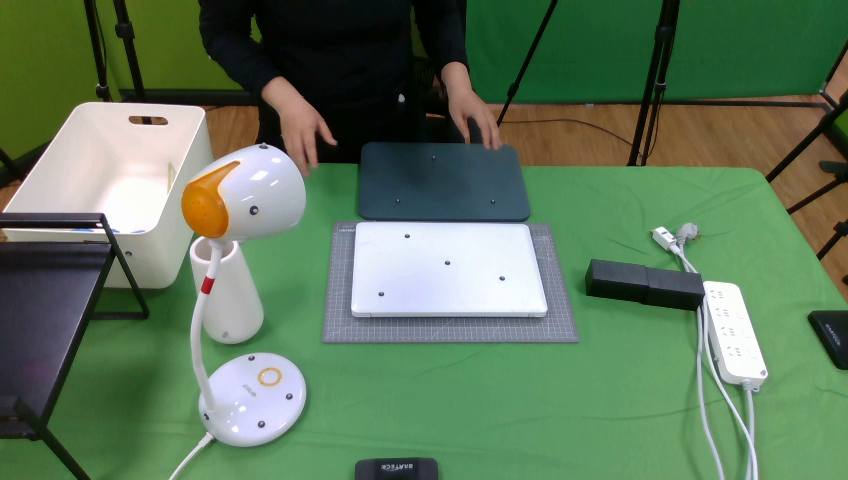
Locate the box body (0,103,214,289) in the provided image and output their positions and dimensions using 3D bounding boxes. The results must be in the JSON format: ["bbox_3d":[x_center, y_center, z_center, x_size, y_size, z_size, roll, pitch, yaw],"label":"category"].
[{"bbox_3d":[-0.563,-0.087,1.139,0.254,0.161,0.361,2,46,-3],"label":"box body"}]

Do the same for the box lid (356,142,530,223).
[{"bbox_3d":[0.040,-0.132,1.339,0.372,0.015,0.261,0,46,-4],"label":"box lid"}]

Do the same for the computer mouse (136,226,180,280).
[{"bbox_3d":[-0.491,0.020,1.118,0.063,0.041,0.116,0,54,-8],"label":"computer mouse"}]

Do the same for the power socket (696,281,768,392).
[{"bbox_3d":[0.543,0.161,1.077,0.072,0.033,0.225,5,46,2],"label":"power socket"}]

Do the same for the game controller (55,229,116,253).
[{"bbox_3d":[-0.597,0.011,1.116,0.155,0.052,0.096,1,48,-1],"label":"game controller"}]

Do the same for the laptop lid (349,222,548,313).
[{"bbox_3d":[0.042,0.046,1.142,0.357,0.013,0.240,2,44,-3],"label":"laptop lid"}]

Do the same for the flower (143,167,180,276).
[{"bbox_3d":[-0.495,-0.053,1.173,0.044,0.038,0.359,-41,34,17],"label":"flower"}]

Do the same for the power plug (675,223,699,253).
[{"bbox_3d":[0.537,0.000,1.244,0.053,0.035,0.072,19,83,-17],"label":"power plug"}]

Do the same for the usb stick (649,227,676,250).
[{"bbox_3d":[0.485,-0.008,1.238,0.021,0.027,0.059,-21,43,-14],"label":"usb stick"}]

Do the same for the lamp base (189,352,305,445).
[{"bbox_3d":[-0.268,0.196,0.876,0.160,0.181,0.179,25,52,20],"label":"lamp base"}]

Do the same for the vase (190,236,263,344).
[{"bbox_3d":[-0.317,0.081,0.971,0.098,0.201,0.097,3,47,-3],"label":"vase"}]

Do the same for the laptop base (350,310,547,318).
[{"bbox_3d":[0.041,0.056,1.149,0.355,0.023,0.234,0,42,-4],"label":"laptop base"}]

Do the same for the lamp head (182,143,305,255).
[{"bbox_3d":[-0.216,-0.044,0.697,0.112,0.113,0.123,23,31,17],"label":"lamp head"}]
